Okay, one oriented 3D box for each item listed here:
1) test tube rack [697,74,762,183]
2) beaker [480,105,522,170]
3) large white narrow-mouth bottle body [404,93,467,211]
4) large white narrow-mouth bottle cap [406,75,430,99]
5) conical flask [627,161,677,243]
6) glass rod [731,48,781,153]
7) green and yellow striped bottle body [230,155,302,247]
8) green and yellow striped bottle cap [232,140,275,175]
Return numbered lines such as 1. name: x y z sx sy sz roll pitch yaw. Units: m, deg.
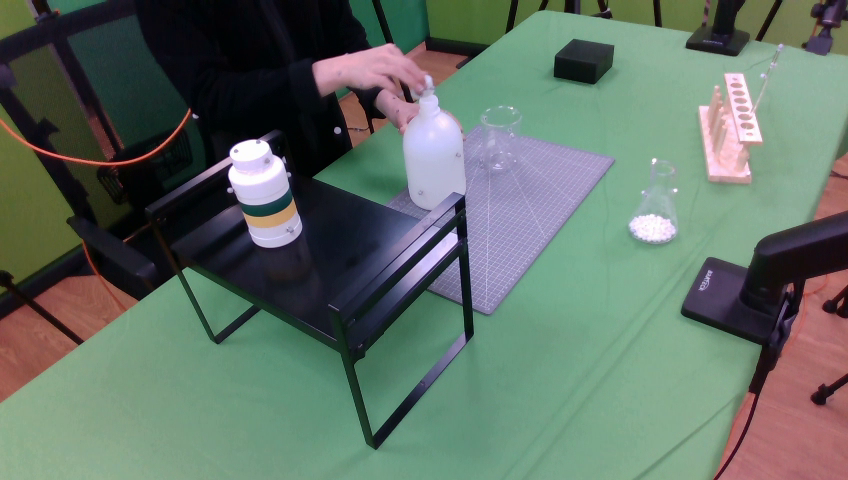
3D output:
1. test tube rack: 0.547 -0.208 1.095 0.066 0.085 0.242 5 42 15
2. beaker: 0.145 -0.187 1.111 0.084 0.101 0.073 -35 48 -29
3. large white narrow-mouth bottle body: 0.017 -0.152 1.017 0.102 0.195 0.101 -4 39 4
4. large white narrow-mouth bottle cap: -0.009 -0.232 0.917 0.038 0.024 0.037 -4 39 4
5. conical flask: 0.355 -0.061 0.921 0.075 0.122 0.075 -4 41 4
6. glass rod: 0.554 -0.228 1.014 0.008 0.200 0.008 1 44 -1
7. green and yellow striped bottle body: -0.188 -0.055 0.714 0.063 0.120 0.063 -4 41 4
8. green and yellow striped bottle cap: -0.192 -0.093 0.680 0.045 0.020 0.045 -5 39 5
